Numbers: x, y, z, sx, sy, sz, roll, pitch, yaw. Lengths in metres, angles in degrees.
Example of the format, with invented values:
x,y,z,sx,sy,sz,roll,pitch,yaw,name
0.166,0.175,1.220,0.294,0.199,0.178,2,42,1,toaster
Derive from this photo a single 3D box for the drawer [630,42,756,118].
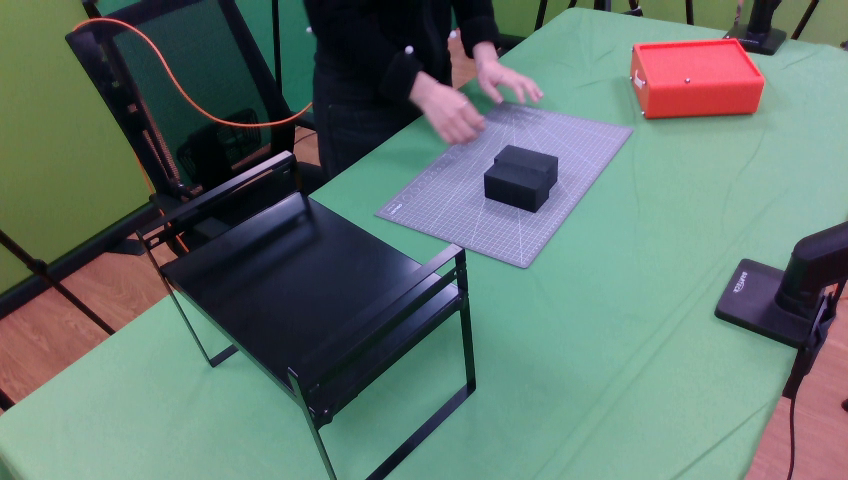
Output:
x,y,z,sx,sy,sz,roll,pitch,yaw,name
0.541,-0.331,1.234,0.211,0.073,0.194,-1,40,8,drawer

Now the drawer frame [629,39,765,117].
x,y,z,sx,sy,sz,roll,pitch,yaw,name
0.543,-0.332,1.234,0.213,0.083,0.201,-1,41,6,drawer frame

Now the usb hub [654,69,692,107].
x,y,z,sx,sy,sz,roll,pitch,yaw,name
0.511,-0.313,1.241,0.049,0.025,0.124,-2,39,10,usb hub
